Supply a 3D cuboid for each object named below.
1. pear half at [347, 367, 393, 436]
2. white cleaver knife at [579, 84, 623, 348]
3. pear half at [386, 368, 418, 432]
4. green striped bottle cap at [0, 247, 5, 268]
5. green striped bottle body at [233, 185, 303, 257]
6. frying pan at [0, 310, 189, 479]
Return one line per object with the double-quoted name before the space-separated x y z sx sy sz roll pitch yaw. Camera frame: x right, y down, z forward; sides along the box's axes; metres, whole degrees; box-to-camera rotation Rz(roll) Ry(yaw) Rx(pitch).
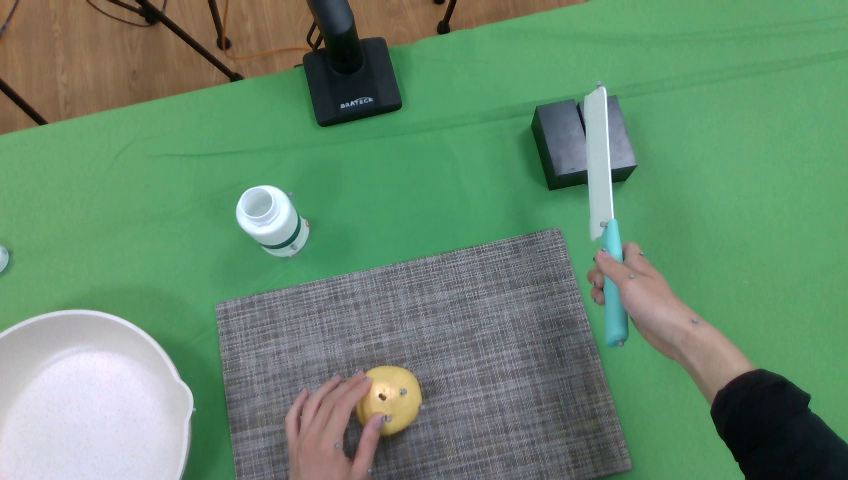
"pear half" -0.059 0.178 0.673 0.056 0.110 0.076 -7 69 -1
"white cleaver knife" 0.191 -0.027 0.660 0.021 0.066 0.285 0 83 -6
"pear half" -0.024 0.179 0.683 0.031 0.088 0.070 -8 69 -1
"green striped bottle cap" -0.565 0.024 0.777 0.044 0.020 0.044 0 74 2
"green striped bottle body" -0.189 -0.024 0.733 0.063 0.120 0.063 0 73 1
"frying pan" -0.376 0.317 0.644 0.307 0.103 0.483 -17 66 -3
